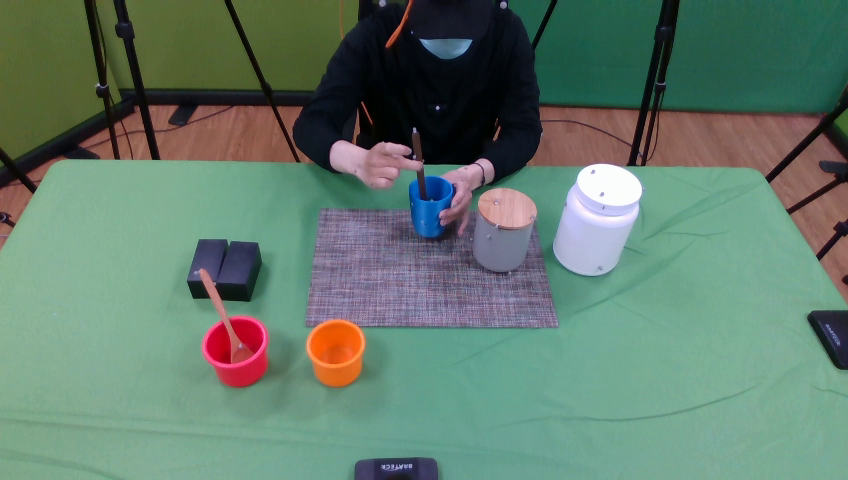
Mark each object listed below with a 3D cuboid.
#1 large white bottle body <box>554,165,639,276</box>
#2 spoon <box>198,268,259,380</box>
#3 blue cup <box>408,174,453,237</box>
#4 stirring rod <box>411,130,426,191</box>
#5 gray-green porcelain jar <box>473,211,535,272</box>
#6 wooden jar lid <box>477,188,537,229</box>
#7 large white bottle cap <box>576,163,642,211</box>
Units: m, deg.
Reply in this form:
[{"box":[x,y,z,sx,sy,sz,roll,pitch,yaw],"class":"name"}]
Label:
[{"box":[0.326,-0.037,1.141,0.131,0.185,0.130,2,46,-2],"class":"large white bottle body"},{"box":[-0.312,0.132,0.962,0.041,0.021,0.194,-24,96,-20],"class":"spoon"},{"box":[0.011,-0.062,1.172,0.092,0.101,0.092,0,43,0],"class":"blue cup"},{"box":[-0.007,-0.124,1.105,0.014,0.177,0.006,-26,44,-19],"class":"stirring rod"},{"box":[0.147,-0.010,1.139,0.106,0.127,0.105,2,46,-2],"class":"gray-green porcelain jar"},{"box":[0.149,-0.054,1.094,0.108,0.021,0.107,4,45,-4],"class":"wooden jar lid"},{"box":[0.330,-0.096,1.081,0.115,0.018,0.114,2,46,-2],"class":"large white bottle cap"}]
